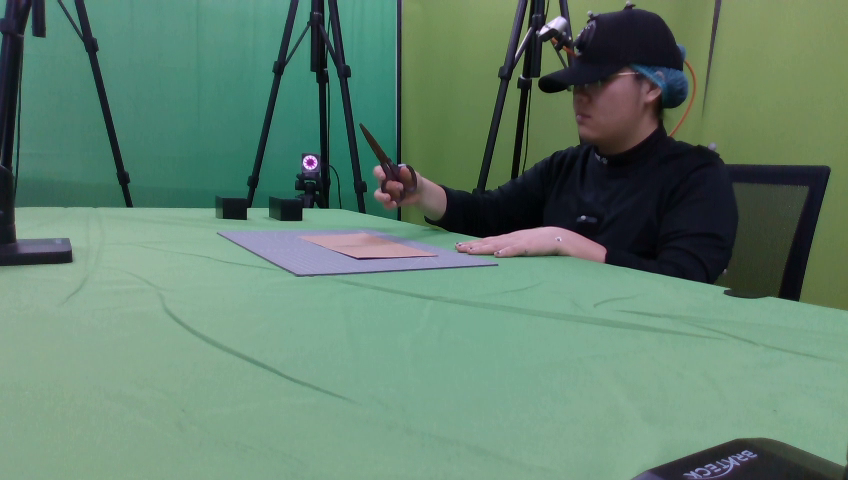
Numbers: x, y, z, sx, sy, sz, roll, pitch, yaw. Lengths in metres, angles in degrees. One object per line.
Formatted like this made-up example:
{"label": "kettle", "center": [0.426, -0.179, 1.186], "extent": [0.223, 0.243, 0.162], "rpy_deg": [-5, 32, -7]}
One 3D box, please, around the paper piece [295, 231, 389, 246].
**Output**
{"label": "paper piece", "center": [-0.138, -0.003, 1.045], "extent": [0.136, 0.004, 0.134], "rpy_deg": [-3, 9, -31]}

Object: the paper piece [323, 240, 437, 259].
{"label": "paper piece", "center": [-0.069, 0.015, 0.932], "extent": [0.137, 0.008, 0.137], "rpy_deg": [-5, 11, -30]}

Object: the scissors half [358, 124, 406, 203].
{"label": "scissors half", "center": [-0.079, -0.136, 1.092], "extent": [0.040, 0.175, 0.012], "rpy_deg": [-33, 33, -12]}

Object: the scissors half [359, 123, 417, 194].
{"label": "scissors half", "center": [-0.064, -0.148, 1.095], "extent": [0.176, 0.040, 0.013], "rpy_deg": [47, -9, -36]}
